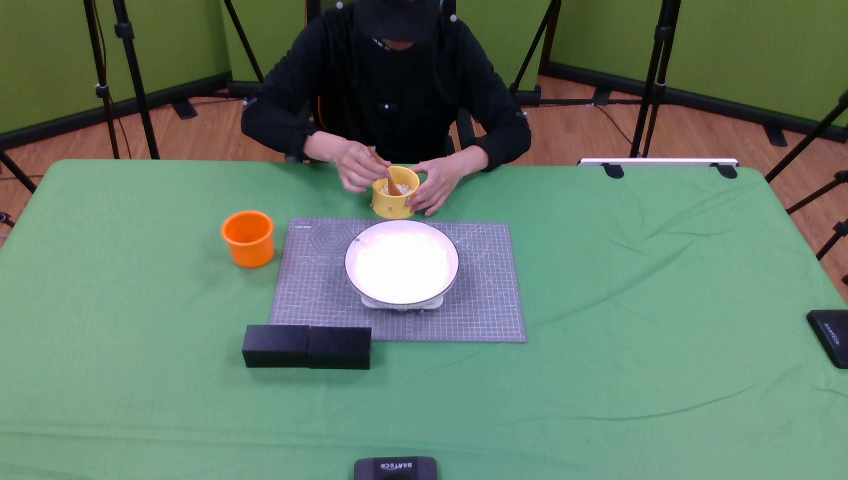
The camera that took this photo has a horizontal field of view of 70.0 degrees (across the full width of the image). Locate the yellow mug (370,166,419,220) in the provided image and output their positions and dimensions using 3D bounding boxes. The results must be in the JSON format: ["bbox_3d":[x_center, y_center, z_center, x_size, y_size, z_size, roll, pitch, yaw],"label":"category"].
[{"bbox_3d":[-0.073,-0.108,1.267,0.100,0.064,0.130,-29,54,-30],"label":"yellow mug"}]

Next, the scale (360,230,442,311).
[{"bbox_3d":[-0.042,0.047,1.138,0.149,0.032,0.199,2,46,-3],"label":"scale"}]

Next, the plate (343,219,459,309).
[{"bbox_3d":[-0.041,0.046,1.094,0.209,0.038,0.208,2,46,-2],"label":"plate"}]

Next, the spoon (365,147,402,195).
[{"bbox_3d":[-0.077,-0.131,1.204,0.041,0.195,0.021,24,72,28],"label":"spoon"}]
